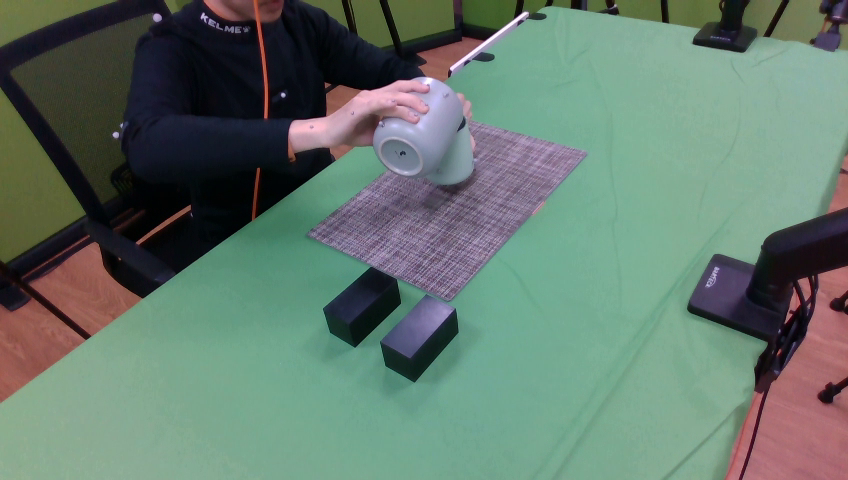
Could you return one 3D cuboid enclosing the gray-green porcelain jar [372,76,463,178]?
[{"bbox_3d":[-0.012,-0.164,0.901,0.105,0.106,0.126,11,51,21],"label":"gray-green porcelain jar"}]

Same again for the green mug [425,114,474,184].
[{"bbox_3d":[0.038,-0.169,1.045,0.092,0.105,0.124,-4,43,5],"label":"green mug"}]
